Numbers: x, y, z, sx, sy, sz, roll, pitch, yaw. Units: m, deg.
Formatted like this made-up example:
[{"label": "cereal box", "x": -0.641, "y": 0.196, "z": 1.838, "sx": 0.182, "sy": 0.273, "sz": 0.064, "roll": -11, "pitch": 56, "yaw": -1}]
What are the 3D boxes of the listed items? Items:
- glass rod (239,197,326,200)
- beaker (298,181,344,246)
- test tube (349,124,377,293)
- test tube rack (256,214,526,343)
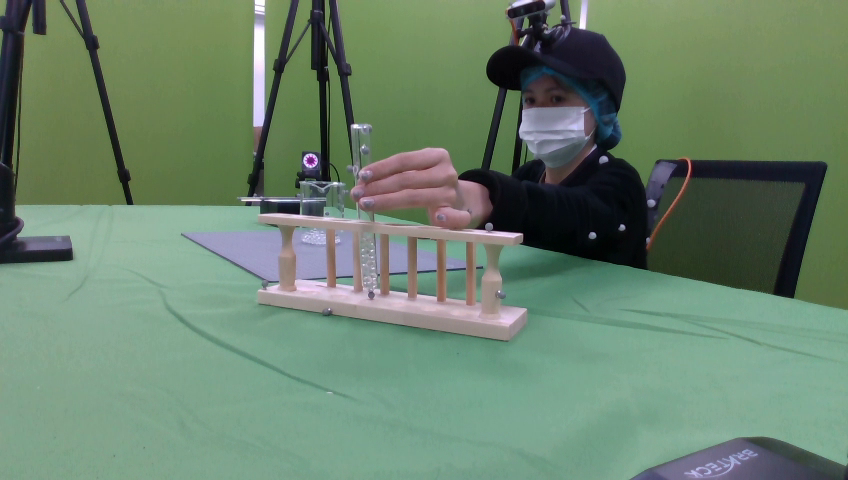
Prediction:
[{"label": "glass rod", "x": -0.288, "y": -0.086, "z": 1.250, "sx": 0.201, "sy": 0.008, "sz": 0.008, "roll": -4, "pitch": 10, "yaw": -42}, {"label": "beaker", "x": -0.166, "y": -0.043, "z": 0.972, "sx": 0.074, "sy": 0.100, "sz": 0.084, "roll": 1, "pitch": 8, "yaw": -10}, {"label": "test tube", "x": -0.053, "y": -0.025, "z": 0.526, "sx": 0.017, "sy": 0.150, "sz": 0.017, "roll": -2, "pitch": 17, "yaw": 1}, {"label": "test tube rack", "x": -0.032, "y": 0.027, "z": 0.547, "sx": 0.241, "sy": 0.085, "sz": 0.067, "roll": 5, "pitch": 8, "yaw": 22}]
